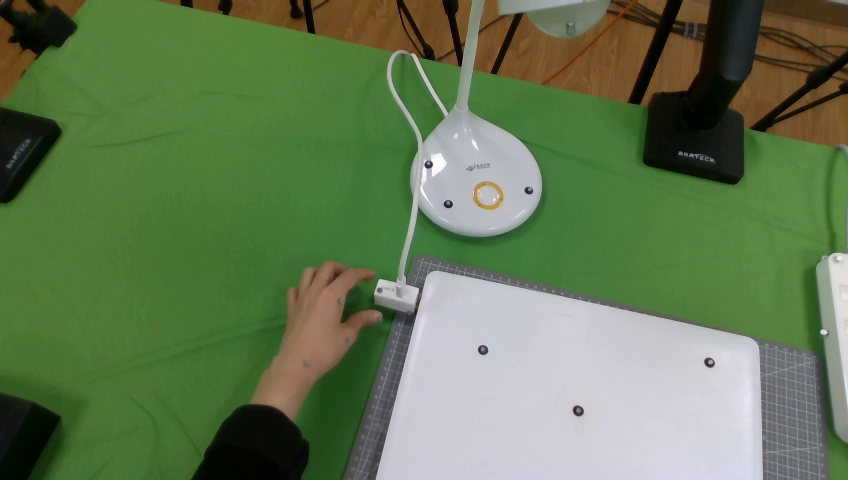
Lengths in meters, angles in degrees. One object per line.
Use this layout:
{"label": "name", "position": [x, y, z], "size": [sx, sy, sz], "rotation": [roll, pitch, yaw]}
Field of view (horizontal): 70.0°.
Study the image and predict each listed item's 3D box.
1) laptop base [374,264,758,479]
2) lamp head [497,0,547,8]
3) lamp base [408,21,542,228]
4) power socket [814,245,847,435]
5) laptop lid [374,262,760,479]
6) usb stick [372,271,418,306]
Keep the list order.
{"label": "laptop base", "position": [0.148, 0.163, 0.601], "size": [0.354, 0.023, 0.234], "rotation": [12, 65, 4]}
{"label": "lamp head", "position": [0.095, -0.222, 0.398], "size": [0.112, 0.111, 0.123], "rotation": [-14, 106, -9]}
{"label": "lamp base", "position": [0.058, -0.132, 0.666], "size": [0.161, 0.181, 0.177], "rotation": [-21, 61, -13]}
{"label": "power socket", "position": [0.461, 0.104, 0.638], "size": [0.072, 0.033, 0.225], "rotation": [12, 61, 3]}
{"label": "laptop lid", "position": [0.148, 0.159, 0.589], "size": [0.356, 0.013, 0.240], "rotation": [13, 64, 5]}
{"label": "usb stick", "position": [-0.024, 0.053, 0.639], "size": [0.059, 0.027, 0.021], "rotation": [16, 55, 3]}
